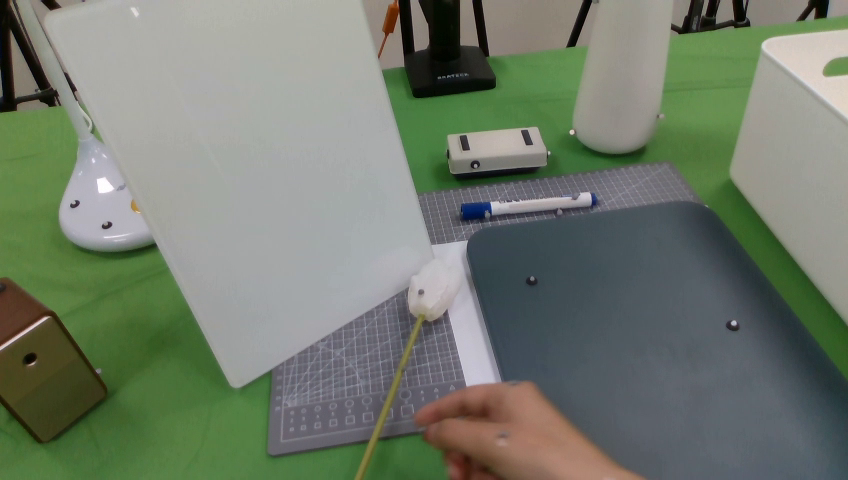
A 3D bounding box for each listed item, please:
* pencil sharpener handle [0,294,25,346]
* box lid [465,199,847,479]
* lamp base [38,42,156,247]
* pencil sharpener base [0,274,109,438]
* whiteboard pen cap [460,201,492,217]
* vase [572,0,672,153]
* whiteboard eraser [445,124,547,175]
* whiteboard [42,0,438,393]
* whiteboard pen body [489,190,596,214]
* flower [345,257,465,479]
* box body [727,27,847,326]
[{"bbox_3d":[-0.351,0.061,0.486,0.030,0.068,0.036,24,58,28],"label":"pencil sharpener handle"},{"bbox_3d":[0.192,0.096,0.499,0.263,0.015,0.367,-8,43,-4],"label":"box lid"},{"bbox_3d":[-0.337,-0.109,0.635,0.178,0.182,0.160,21,47,27],"label":"lamp base"},{"bbox_3d":[-0.310,0.090,0.470,0.076,0.108,0.061,24,50,28],"label":"pencil sharpener base"},{"bbox_3d":[0.055,-0.033,0.644,0.033,0.018,0.018,-3,42,-4],"label":"whiteboard pen cap"},{"bbox_3d":[0.227,-0.199,0.683,0.098,0.202,0.097,-1,42,1],"label":"vase"},{"bbox_3d":[0.082,-0.103,0.705,0.113,0.042,0.055,-7,40,-2],"label":"whiteboard eraser"},{"bbox_3d":[-0.144,-0.070,0.529,0.217,0.308,0.142,-29,29,-24],"label":"whiteboard"},{"bbox_3d":[0.114,-0.039,0.647,0.141,0.017,0.017,-6,42,-2],"label":"whiteboard pen body"},{"bbox_3d":[-0.039,0.144,0.448,0.044,0.038,0.359,-2,41,28],"label":"flower"},{"bbox_3d":[0.465,-0.034,0.514,0.254,0.162,0.360,-7,42,-3],"label":"box body"}]
